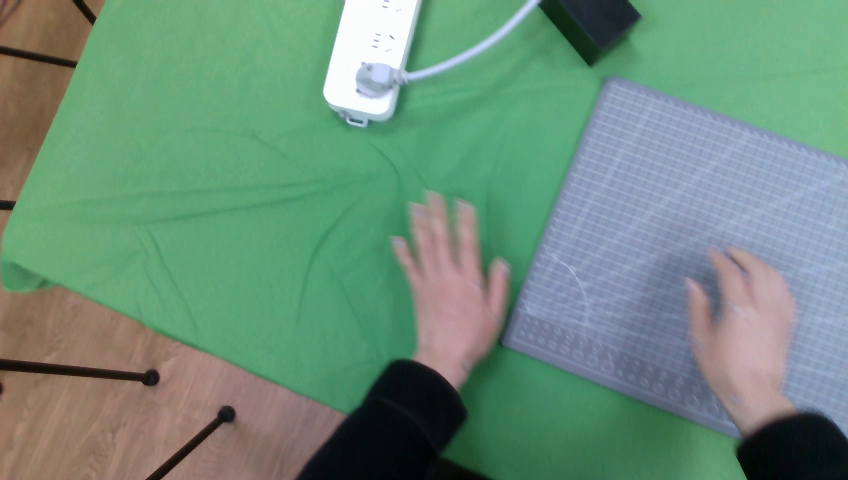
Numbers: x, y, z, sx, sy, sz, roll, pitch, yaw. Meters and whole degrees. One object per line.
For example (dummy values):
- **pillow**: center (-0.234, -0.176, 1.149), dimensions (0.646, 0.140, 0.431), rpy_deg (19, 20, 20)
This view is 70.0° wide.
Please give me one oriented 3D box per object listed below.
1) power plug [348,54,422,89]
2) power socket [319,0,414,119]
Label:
- **power plug**: center (-0.041, -0.161, 0.605), dimensions (0.072, 0.053, 0.035), rpy_deg (24, 88, 1)
- **power socket**: center (-0.051, -0.239, 0.629), dimensions (0.072, 0.032, 0.226), rpy_deg (14, 88, 4)
